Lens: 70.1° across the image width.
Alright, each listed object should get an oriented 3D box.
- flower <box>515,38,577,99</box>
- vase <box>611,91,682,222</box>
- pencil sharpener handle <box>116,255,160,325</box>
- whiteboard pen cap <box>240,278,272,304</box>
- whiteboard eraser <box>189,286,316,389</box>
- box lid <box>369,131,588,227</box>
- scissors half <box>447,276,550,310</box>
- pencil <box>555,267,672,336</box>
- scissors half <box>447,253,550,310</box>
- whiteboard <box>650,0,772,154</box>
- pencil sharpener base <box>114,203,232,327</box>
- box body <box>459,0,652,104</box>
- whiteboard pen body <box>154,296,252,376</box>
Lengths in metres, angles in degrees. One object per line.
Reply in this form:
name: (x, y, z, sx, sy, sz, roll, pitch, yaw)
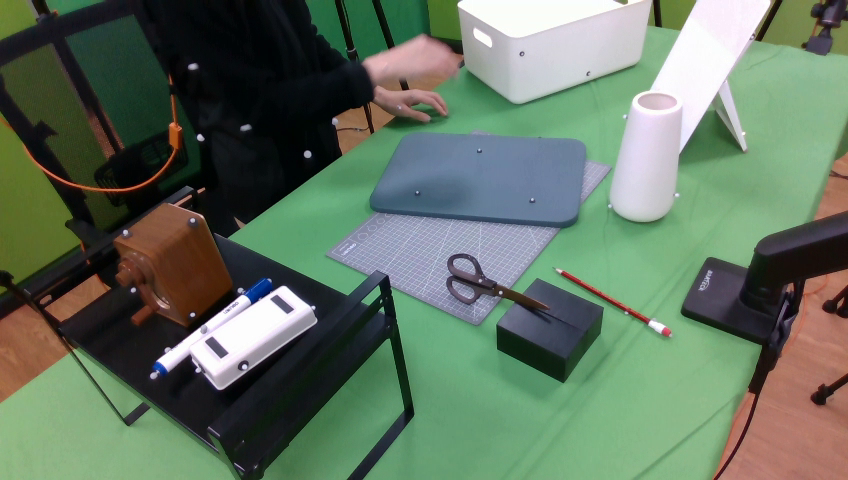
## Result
flower: (0.297, -0.413, 1.411, 0.044, 0.038, 0.362, -13, 25, 41)
vase: (0.348, -0.125, 0.935, 0.098, 0.201, 0.097, -3, 40, 3)
pencil sharpener handle: (-0.286, 0.050, 0.594, 0.035, 0.068, 0.031, 7, 41, 35)
whiteboard pen cap: (-0.183, 0.057, 0.658, 0.018, 0.018, 0.033, 19, 44, 28)
whiteboard eraser: (-0.166, 0.096, 0.593, 0.113, 0.042, 0.055, -36, 46, -29)
box lid: (0.107, -0.120, 1.107, 0.370, 0.015, 0.263, 5, 42, 14)
scissors half: (0.098, 0.077, 0.827, 0.174, 0.040, 0.013, 6, 14, 44)
pencil: (0.260, 0.082, 0.850, 0.012, 0.012, 0.192, -33, 46, -27)
scissors half: (0.098, 0.058, 0.821, 0.173, 0.040, 0.013, 27, 33, 37)
whiteboard: (0.543, -0.298, 1.076, 0.144, 0.305, 0.216, 12, 40, -7)
pencil sharpener base: (-0.262, 0.029, 0.635, 0.061, 0.107, 0.077, 18, 47, 26)
box body: (0.291, -0.465, 1.371, 0.365, 0.161, 0.252, -22, 42, -16)
whiteboard pen body: (-0.214, 0.089, 0.619, 0.017, 0.017, 0.141, 19, 42, 28)
